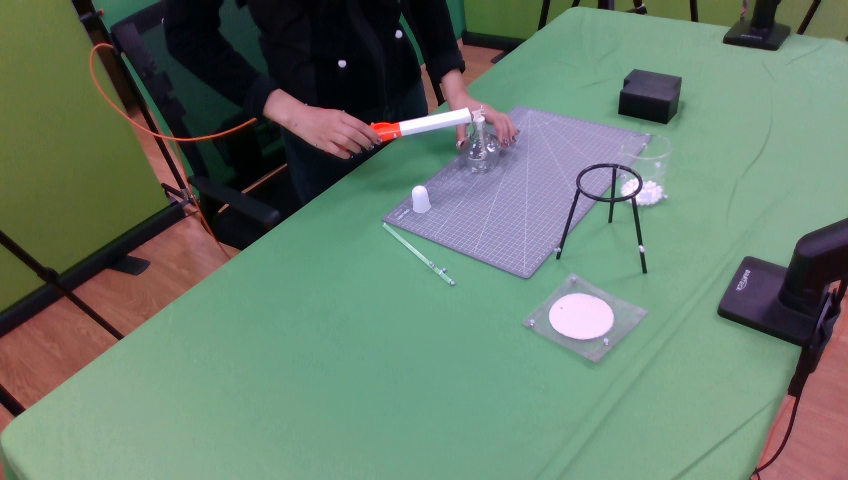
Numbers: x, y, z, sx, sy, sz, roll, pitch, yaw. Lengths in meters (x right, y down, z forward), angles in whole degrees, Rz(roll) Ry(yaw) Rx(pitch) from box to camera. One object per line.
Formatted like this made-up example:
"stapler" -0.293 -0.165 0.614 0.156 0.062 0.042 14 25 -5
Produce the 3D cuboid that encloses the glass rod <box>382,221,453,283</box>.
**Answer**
"glass rod" -0.014 0.016 0.976 0.008 0.008 0.198 -30 44 -22

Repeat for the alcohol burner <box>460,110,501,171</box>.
"alcohol burner" 0.103 -0.186 1.105 0.078 0.119 0.077 -4 42 4

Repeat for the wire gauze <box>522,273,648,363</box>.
"wire gauze" 0.220 0.105 0.828 0.125 0.011 0.120 -35 47 -30

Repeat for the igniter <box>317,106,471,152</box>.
"igniter" -0.055 -0.197 1.077 0.277 0.025 0.057 -12 42 0

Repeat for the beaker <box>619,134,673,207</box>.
"beaker" 0.357 -0.111 0.986 0.084 0.101 0.073 -10 40 1

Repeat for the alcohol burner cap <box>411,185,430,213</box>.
"alcohol burner cap" -0.008 -0.074 1.050 0.034 0.048 0.033 -4 41 4

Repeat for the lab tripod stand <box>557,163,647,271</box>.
"lab tripod stand" 0.271 -0.034 0.885 0.148 0.132 0.147 -4 40 4
